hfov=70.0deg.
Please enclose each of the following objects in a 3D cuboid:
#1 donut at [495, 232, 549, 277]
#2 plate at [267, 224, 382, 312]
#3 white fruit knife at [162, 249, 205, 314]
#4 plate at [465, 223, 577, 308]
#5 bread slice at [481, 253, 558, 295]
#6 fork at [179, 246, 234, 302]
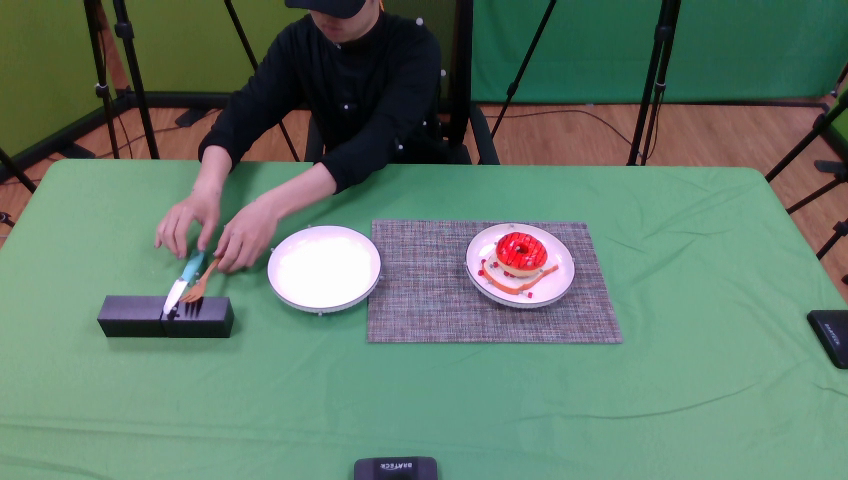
[{"bbox_3d":[0.180,0.026,1.119,0.099,0.048,0.098,2,46,-2],"label":"donut"},{"bbox_3d":[-0.181,0.055,1.120,0.208,0.039,0.206,2,46,-2],"label":"plate"},{"bbox_3d":[-0.420,0.070,1.063,0.027,0.016,0.206,-2,29,-2],"label":"white fruit knife"},{"bbox_3d":[0.180,0.051,1.144,0.209,0.038,0.208,2,45,-2],"label":"plate"},{"bbox_3d":[0.177,0.050,1.148,0.131,0.019,0.104,-32,55,-31],"label":"bread slice"},{"bbox_3d":[-0.380,0.057,1.075,0.028,0.019,0.206,2,28,5],"label":"fork"}]
